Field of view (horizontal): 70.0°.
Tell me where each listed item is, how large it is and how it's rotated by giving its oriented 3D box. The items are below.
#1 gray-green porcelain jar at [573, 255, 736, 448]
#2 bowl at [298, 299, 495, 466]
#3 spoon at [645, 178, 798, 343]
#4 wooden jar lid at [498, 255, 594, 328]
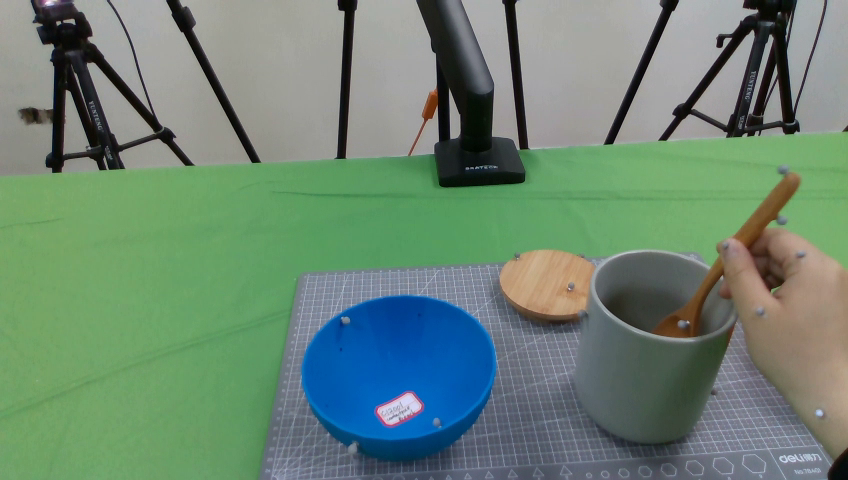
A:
[{"bbox_3d":[0.176,0.092,0.482,0.106,0.127,0.105,-1,36,1],"label":"gray-green porcelain jar"},{"bbox_3d":[-0.020,0.125,0.486,0.151,0.077,0.150,-1,36,1],"label":"bowl"},{"bbox_3d":[0.204,0.035,0.433,0.022,0.195,0.041,1,44,-13],"label":"spoon"},{"bbox_3d":[0.131,0.054,0.631,0.108,0.021,0.107,-1,34,1],"label":"wooden jar lid"}]
